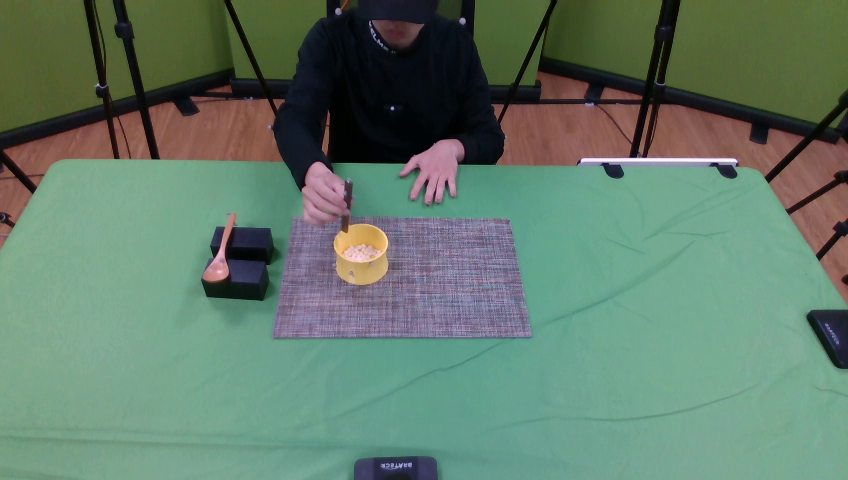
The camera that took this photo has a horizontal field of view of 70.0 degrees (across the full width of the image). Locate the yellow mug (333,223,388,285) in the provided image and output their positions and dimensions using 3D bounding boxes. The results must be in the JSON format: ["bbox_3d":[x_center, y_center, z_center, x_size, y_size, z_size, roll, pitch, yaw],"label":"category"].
[{"bbox_3d":[-0.126,0.015,1.139,0.100,0.064,0.130,-24,51,-24],"label":"yellow mug"}]

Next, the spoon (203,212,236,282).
[{"bbox_3d":[-0.361,0.009,1.097,0.041,0.022,0.192,0,44,-3],"label":"spoon"}]

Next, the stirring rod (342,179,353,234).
[{"bbox_3d":[-0.132,-0.054,1.033,0.014,0.177,0.006,28,62,5],"label":"stirring rod"}]
